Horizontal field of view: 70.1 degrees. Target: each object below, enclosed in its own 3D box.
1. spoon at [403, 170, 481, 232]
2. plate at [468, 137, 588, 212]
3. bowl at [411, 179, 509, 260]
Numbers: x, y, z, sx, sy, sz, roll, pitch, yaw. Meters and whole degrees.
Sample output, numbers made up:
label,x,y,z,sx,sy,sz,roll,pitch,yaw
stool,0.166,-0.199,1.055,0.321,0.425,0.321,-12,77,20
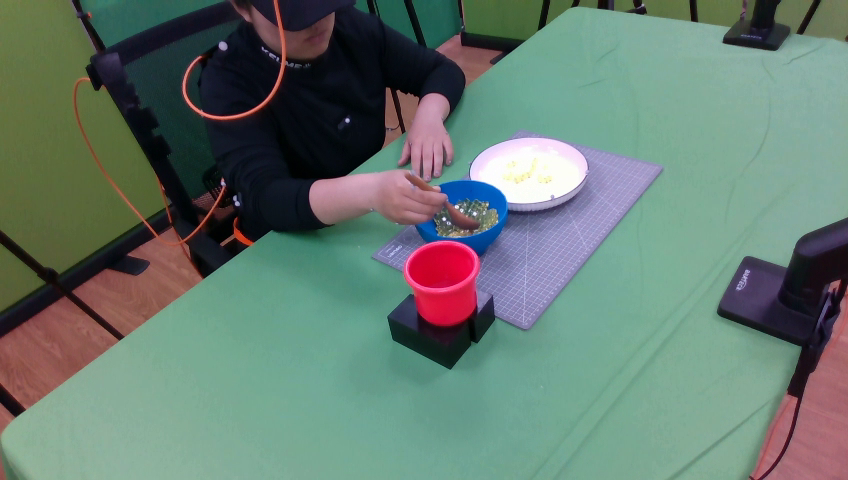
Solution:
label,x,y,z,sx,sy,sz,roll,pitch,yaw
spoon,0.026,-0.054,0.872,0.041,0.195,0.021,-5,61,35
plate,0.182,-0.112,1.064,0.207,0.039,0.206,-5,40,5
bowl,0.060,-0.022,0.949,0.151,0.077,0.150,-5,40,5
